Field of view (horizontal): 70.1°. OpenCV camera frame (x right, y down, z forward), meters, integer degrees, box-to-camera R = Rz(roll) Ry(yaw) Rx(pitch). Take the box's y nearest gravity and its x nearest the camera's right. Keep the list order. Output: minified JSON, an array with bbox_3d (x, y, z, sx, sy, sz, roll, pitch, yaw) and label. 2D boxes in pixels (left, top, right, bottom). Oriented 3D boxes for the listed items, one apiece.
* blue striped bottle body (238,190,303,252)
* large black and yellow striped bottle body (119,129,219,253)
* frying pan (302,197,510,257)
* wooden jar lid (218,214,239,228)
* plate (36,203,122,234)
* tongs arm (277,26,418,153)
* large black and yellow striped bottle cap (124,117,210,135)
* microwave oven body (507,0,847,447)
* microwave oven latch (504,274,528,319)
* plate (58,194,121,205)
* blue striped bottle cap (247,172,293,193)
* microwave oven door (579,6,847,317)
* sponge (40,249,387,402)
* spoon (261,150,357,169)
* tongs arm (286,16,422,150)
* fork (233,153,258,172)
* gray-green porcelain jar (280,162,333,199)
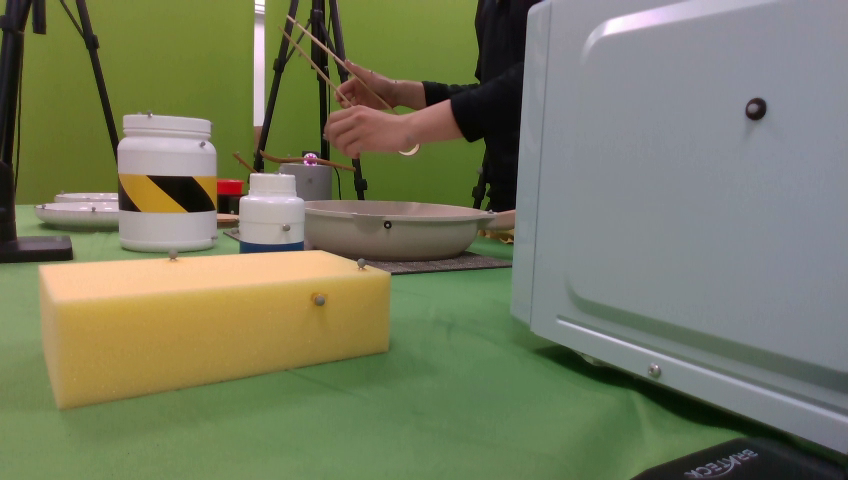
[{"bbox_3d":[-0.153,-0.007,0.606,0.063,0.120,0.063,2,8,0],"label":"blue striped bottle body"},{"bbox_3d":[-0.367,-0.080,0.876,0.131,0.184,0.130,1,7,0],"label":"large black and yellow striped bottle body"},{"bbox_3d":[0.051,-0.035,0.915,0.487,0.102,0.307,-5,7,11],"label":"frying pan"},{"bbox_3d":[-0.404,-0.037,1.169,0.108,0.020,0.108,3,7,0],"label":"wooden jar lid"},{"bbox_3d":[-0.571,-0.040,1.083,0.208,0.039,0.207,2,8,0],"label":"plate"},{"bbox_3d":[-0.158,-0.311,1.287,0.389,0.028,0.027,41,0,-24],"label":"tongs arm"},{"bbox_3d":[-0.366,-0.163,0.866,0.115,0.019,0.115,3,7,0],"label":"large black and yellow striped bottle cap"},{"bbox_3d":[0.331,-0.042,0.425,0.444,0.260,0.324,-2,8,-31],"label":"microwave oven body"},{"bbox_3d":[0.100,0.041,0.471,0.079,0.029,0.030,-1,7,-28],"label":"microwave oven latch"},{"bbox_3d":[-0.671,-0.074,1.310,0.209,0.038,0.209,2,8,0],"label":"plate"},{"bbox_3d":[-0.152,-0.057,0.598,0.044,0.020,0.044,3,6,0],"label":"blue striped bottle cap"},{"bbox_3d":[0.294,-0.067,0.570,0.358,0.243,0.039,-3,9,-31],"label":"microwave oven door"},{"bbox_3d":[-0.142,0.047,0.420,0.208,0.061,0.117,-3,8,-36],"label":"sponge"},{"bbox_3d":[-0.231,-0.162,1.221,0.194,0.021,0.041,3,3,-16],"label":"spoon"},{"bbox_3d":[-0.144,-0.325,1.286,0.386,0.050,0.026,35,6,-24],"label":"tongs arm"},{"bbox_3d":[-0.396,-0.144,1.486,0.028,0.018,0.208,20,-25,45],"label":"fork"},{"bbox_3d":[-0.238,-0.092,1.221,0.106,0.126,0.106,2,7,0],"label":"gray-green porcelain jar"}]
